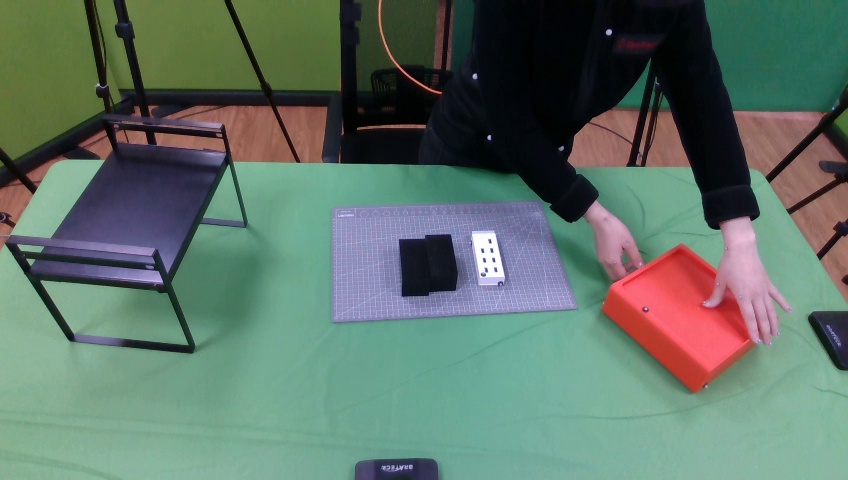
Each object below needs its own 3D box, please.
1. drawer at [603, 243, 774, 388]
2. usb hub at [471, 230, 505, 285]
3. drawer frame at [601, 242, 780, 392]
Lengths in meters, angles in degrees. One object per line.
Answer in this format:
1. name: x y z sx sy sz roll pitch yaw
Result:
1. drawer: 0.461 0.126 1.067 0.194 0.073 0.210 -25 54 -26
2. usb hub: 0.122 0.033 1.167 0.049 0.025 0.124 -2 46 -4
3. drawer frame: 0.463 0.126 1.064 0.202 0.083 0.212 -26 54 -26
